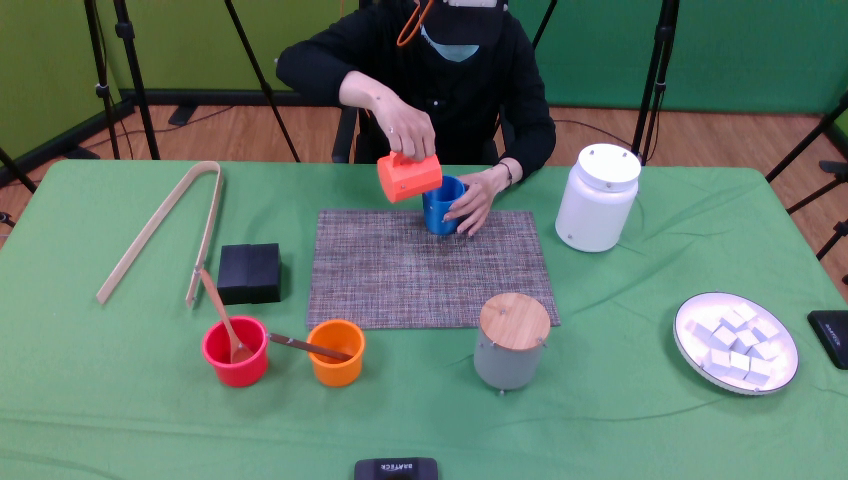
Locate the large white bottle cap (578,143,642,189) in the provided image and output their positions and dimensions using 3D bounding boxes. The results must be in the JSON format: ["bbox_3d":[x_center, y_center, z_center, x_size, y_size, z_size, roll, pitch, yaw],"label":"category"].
[{"bbox_3d":[0.344,-0.139,1.123,0.115,0.018,0.114,2,46,-2],"label":"large white bottle cap"}]

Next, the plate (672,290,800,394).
[{"bbox_3d":[0.533,0.179,1.050,0.208,0.039,0.206,2,46,-2],"label":"plate"}]

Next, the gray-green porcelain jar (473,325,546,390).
[{"bbox_3d":[0.135,0.170,0.969,0.106,0.127,0.105,2,46,-2],"label":"gray-green porcelain jar"}]

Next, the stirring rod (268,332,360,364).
[{"bbox_3d":[-0.167,0.169,0.942,0.177,0.006,0.014,26,27,-41],"label":"stirring rod"}]

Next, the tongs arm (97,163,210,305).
[{"bbox_3d":[-0.520,-0.027,1.184,0.028,0.028,0.385,5,45,13],"label":"tongs arm"}]

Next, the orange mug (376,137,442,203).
[{"bbox_3d":[-0.026,-0.134,1.108,0.101,0.127,0.083,-18,60,-19],"label":"orange mug"}]

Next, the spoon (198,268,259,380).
[{"bbox_3d":[-0.313,0.133,0.962,0.041,0.021,0.194,-24,96,-21],"label":"spoon"}]

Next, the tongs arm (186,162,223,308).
[{"bbox_3d":[-0.436,-0.024,1.181,0.051,0.027,0.382,-3,45,0],"label":"tongs arm"}]

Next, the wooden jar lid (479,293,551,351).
[{"bbox_3d":[0.137,0.127,0.925,0.108,0.021,0.107,1,47,-1],"label":"wooden jar lid"}]

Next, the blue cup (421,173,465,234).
[{"bbox_3d":[0.036,-0.067,1.201,0.092,0.101,0.092,0,46,0],"label":"blue cup"}]

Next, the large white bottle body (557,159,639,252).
[{"bbox_3d":[0.340,-0.081,1.185,0.131,0.185,0.130,2,46,-1],"label":"large white bottle body"}]
